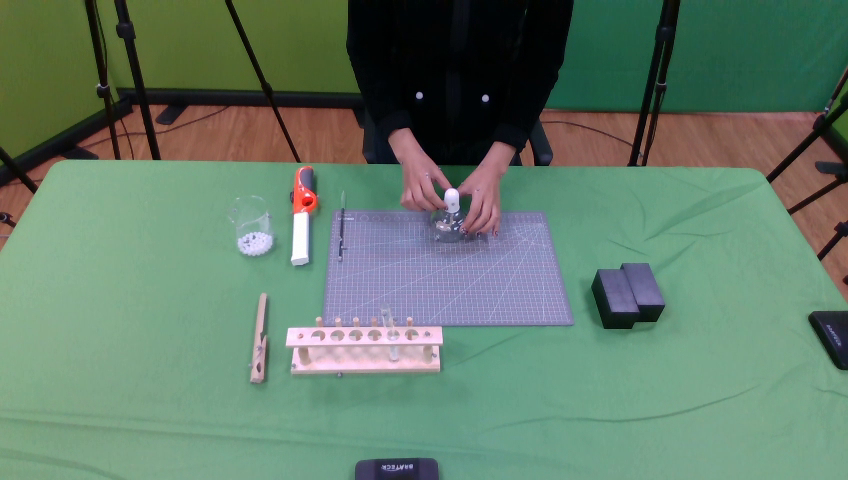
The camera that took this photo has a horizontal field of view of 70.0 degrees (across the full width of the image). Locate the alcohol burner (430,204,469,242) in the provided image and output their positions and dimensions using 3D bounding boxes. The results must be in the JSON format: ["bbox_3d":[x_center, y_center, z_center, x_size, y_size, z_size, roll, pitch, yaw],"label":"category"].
[{"bbox_3d":[0.051,-0.053,1.185,0.078,0.119,0.077,2,48,-2],"label":"alcohol burner"}]

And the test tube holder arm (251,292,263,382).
[{"bbox_3d":[-0.282,0.159,1.025,0.013,0.015,0.177,23,36,-33],"label":"test tube holder arm"}]

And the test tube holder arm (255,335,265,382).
[{"bbox_3d":[-0.270,0.193,0.997,0.010,0.015,0.087,24,36,-32],"label":"test tube holder arm"}]

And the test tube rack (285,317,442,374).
[{"bbox_3d":[-0.095,0.166,0.988,0.242,0.085,0.066,0,46,-4],"label":"test tube rack"}]

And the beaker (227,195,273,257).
[{"bbox_3d":[-0.326,-0.022,1.142,0.074,0.101,0.083,10,47,6],"label":"beaker"}]

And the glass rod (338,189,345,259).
[{"bbox_3d":[-0.166,-0.036,1.227,0.008,0.008,0.198,-1,46,-4],"label":"glass rod"}]

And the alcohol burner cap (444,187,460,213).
[{"bbox_3d":[0.053,-0.079,1.157,0.034,0.048,0.033,-2,49,3],"label":"alcohol burner cap"}]

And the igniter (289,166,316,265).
[{"bbox_3d":[-0.248,-0.058,1.233,0.057,0.025,0.274,-9,47,1],"label":"igniter"}]

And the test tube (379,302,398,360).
[{"bbox_3d":[-0.054,0.145,0.943,0.017,0.151,0.017,-2,49,3],"label":"test tube"}]
